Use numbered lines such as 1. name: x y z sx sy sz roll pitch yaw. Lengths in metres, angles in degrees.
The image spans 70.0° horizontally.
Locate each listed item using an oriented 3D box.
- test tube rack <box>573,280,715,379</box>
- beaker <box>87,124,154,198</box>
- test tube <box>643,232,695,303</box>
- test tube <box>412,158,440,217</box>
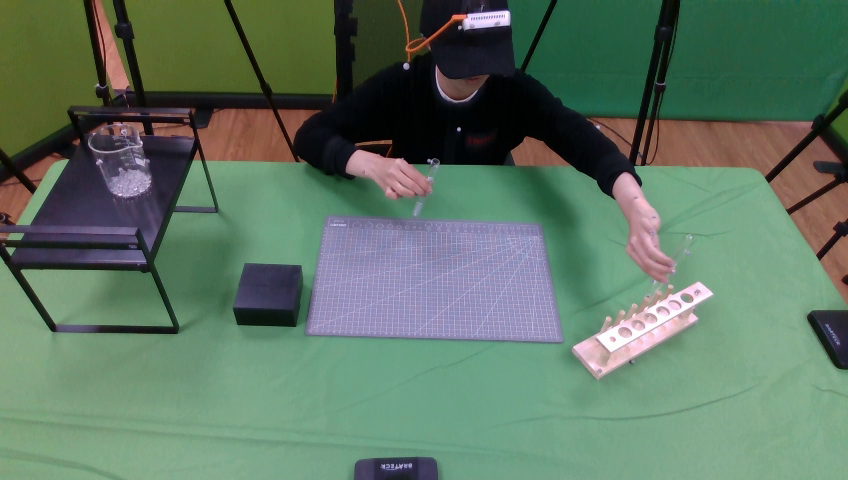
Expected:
1. test tube rack: 0.378 0.140 1.038 0.242 0.085 0.066 -22 51 -23
2. beaker: -0.482 -0.124 0.978 0.084 0.101 0.073 9 46 4
3. test tube: 0.398 0.046 0.986 0.017 0.151 0.017 12 38 -9
4. test tube: 0.003 -0.096 1.143 0.017 0.151 0.017 10 48 -11
